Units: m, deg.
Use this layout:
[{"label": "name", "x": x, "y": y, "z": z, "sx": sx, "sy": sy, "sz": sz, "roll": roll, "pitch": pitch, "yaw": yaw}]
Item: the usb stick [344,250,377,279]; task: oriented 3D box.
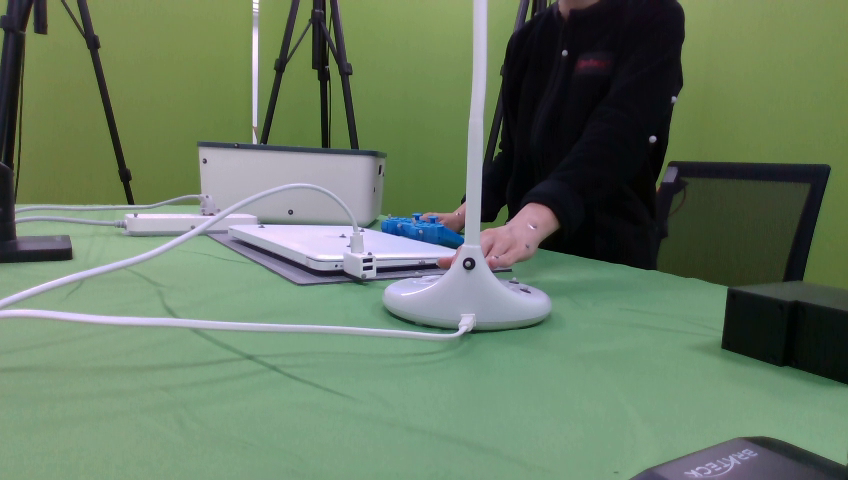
[{"label": "usb stick", "x": -0.076, "y": 0.026, "z": 0.687, "sx": 0.021, "sy": 0.027, "sz": 0.059, "roll": -8, "pitch": 8, "yaw": -31}]

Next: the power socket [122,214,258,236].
[{"label": "power socket", "x": -0.399, "y": -0.028, "z": 1.049, "sx": 0.228, "sy": 0.032, "sz": 0.072, "roll": -3, "pitch": 8, "yaw": -34}]

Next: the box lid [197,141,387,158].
[{"label": "box lid", "x": -0.275, "y": -0.196, "z": 1.326, "sx": 0.372, "sy": 0.015, "sz": 0.263, "roll": 4, "pitch": 7, "yaw": 1}]

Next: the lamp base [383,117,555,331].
[{"label": "lamp base", "x": 0.045, "y": -0.019, "z": 0.547, "sx": 0.161, "sy": 0.180, "sz": 0.179, "roll": 2, "pitch": 10, "yaw": -4}]

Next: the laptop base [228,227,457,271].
[{"label": "laptop base", "x": -0.122, "y": 0.011, "z": 0.889, "sx": 0.237, "sy": 0.023, "sz": 0.352, "roll": 2, "pitch": 6, "yaw": -35}]

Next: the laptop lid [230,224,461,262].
[{"label": "laptop lid", "x": -0.120, "y": 0.000, "z": 0.888, "sx": 0.243, "sy": 0.013, "sz": 0.355, "roll": 1, "pitch": 7, "yaw": -33}]

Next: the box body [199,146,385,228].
[{"label": "box body", "x": -0.276, "y": -0.124, "z": 1.334, "sx": 0.364, "sy": 0.160, "sz": 0.254, "roll": 3, "pitch": 7, "yaw": 1}]

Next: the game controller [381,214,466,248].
[{"label": "game controller", "x": -0.006, "y": -0.017, "z": 1.039, "sx": 0.097, "sy": 0.051, "sz": 0.154, "roll": -6, "pitch": 10, "yaw": -33}]

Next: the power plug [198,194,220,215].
[{"label": "power plug", "x": -0.387, "y": -0.055, "z": 1.089, "sx": 0.035, "sy": 0.052, "sz": 0.072, "roll": -1, "pitch": 6, "yaw": -22}]
